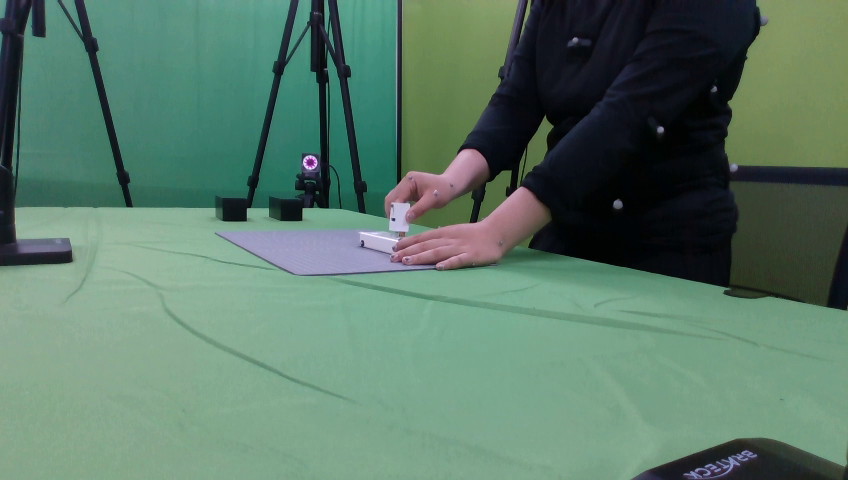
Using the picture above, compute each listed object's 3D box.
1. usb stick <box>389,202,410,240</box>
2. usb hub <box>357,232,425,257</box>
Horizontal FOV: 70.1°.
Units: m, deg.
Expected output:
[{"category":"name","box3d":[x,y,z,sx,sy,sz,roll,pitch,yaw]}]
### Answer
[{"category":"usb stick","box3d":[-0.039,-0.028,0.934,0.027,0.059,0.021,-7,13,-40]},{"category":"usb hub","box3d":[-0.054,0.005,0.947,0.050,0.025,0.124,-3,9,-36]}]
